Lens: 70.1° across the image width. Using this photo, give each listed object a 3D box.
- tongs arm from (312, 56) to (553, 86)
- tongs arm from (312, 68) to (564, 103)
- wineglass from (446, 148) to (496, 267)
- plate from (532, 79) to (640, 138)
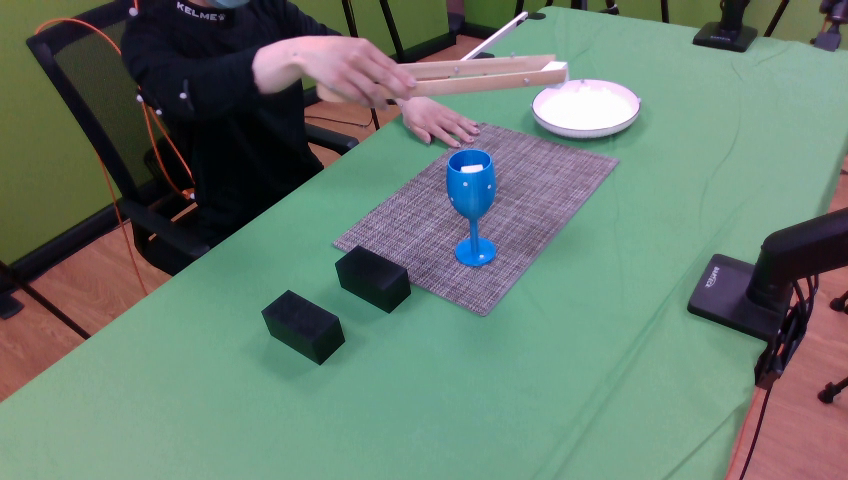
[{"bbox_3d":[0.023,-0.255,0.936,0.386,0.026,0.050,-5,42,-8],"label":"tongs arm"},{"bbox_3d":[0.029,-0.237,0.915,0.389,0.028,0.028,-7,46,-10],"label":"tongs arm"},{"bbox_3d":[0.072,-0.045,0.889,0.074,0.173,0.073,-4,40,4],"label":"wineglass"},{"bbox_3d":[0.322,-0.259,1.212,0.209,0.038,0.208,-4,40,4],"label":"plate"}]
